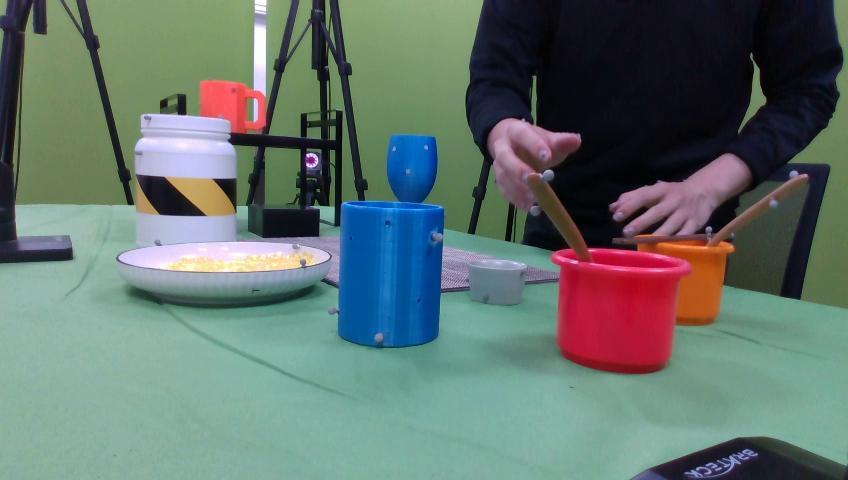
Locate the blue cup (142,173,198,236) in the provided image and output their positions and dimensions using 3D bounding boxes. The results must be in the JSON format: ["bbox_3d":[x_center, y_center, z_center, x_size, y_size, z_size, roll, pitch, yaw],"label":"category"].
[{"bbox_3d":[-0.425,-0.060,1.014,0.093,0.100,0.092,4,9,0],"label":"blue cup"}]

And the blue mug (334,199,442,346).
[{"bbox_3d":[-0.034,0.020,0.498,0.083,0.106,0.116,0,7,-19],"label":"blue mug"}]

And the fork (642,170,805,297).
[{"bbox_3d":[0.261,0.003,0.545,0.028,0.018,0.207,5,-37,-15],"label":"fork"}]

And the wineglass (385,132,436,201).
[{"bbox_3d":[-0.020,-0.061,0.842,0.074,0.172,0.073,2,7,0],"label":"wineglass"}]

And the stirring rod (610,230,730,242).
[{"bbox_3d":[0.241,-0.005,0.582,0.177,0.006,0.014,-3,10,-34],"label":"stirring rod"}]

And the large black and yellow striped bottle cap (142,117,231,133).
[{"bbox_3d":[-0.328,-0.159,0.839,0.115,0.019,0.115,1,9,0],"label":"large black and yellow striped bottle cap"}]

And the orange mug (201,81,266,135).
[{"bbox_3d":[-0.377,-0.259,1.198,0.126,0.101,0.083,-2,7,-6],"label":"orange mug"}]

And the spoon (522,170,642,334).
[{"bbox_3d":[0.110,0.016,0.424,0.041,0.021,0.194,7,-36,43],"label":"spoon"}]

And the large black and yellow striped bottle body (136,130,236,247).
[{"bbox_3d":[-0.332,-0.076,0.851,0.131,0.184,0.130,3,8,0],"label":"large black and yellow striped bottle body"}]

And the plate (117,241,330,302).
[{"bbox_3d":[-0.203,0.031,0.630,0.209,0.038,0.209,3,7,0],"label":"plate"}]

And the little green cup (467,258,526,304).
[{"bbox_3d":[0.074,0.042,0.626,0.061,0.038,0.061,3,7,0],"label":"little green cup"}]
